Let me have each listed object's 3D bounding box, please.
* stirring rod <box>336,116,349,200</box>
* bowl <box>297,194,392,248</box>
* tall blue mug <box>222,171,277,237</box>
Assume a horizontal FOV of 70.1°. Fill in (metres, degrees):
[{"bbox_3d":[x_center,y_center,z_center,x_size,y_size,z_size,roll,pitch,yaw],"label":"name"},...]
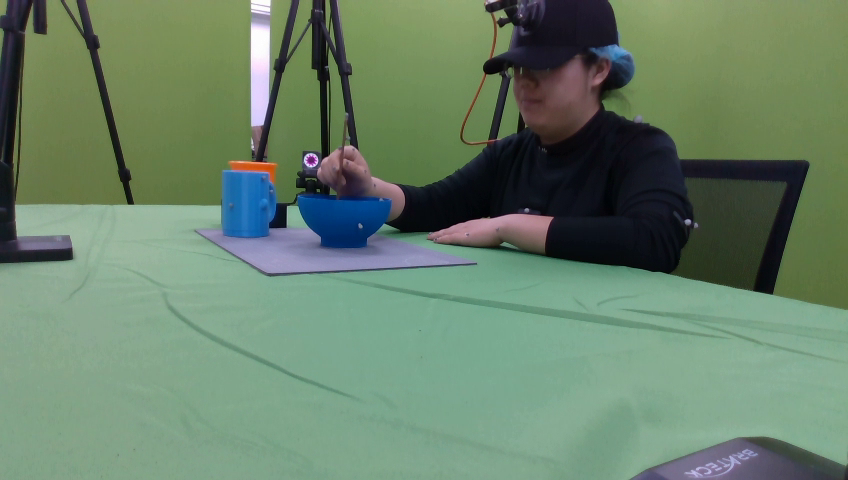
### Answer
[{"bbox_3d":[-0.130,-0.107,0.949,0.006,0.176,0.014,6,1,-11],"label":"stirring rod"},{"bbox_3d":[-0.127,-0.030,0.964,0.151,0.077,0.151,2,7,0],"label":"bowl"},{"bbox_3d":[-0.302,-0.064,1.043,0.078,0.108,0.107,1,7,-4],"label":"tall blue mug"}]
